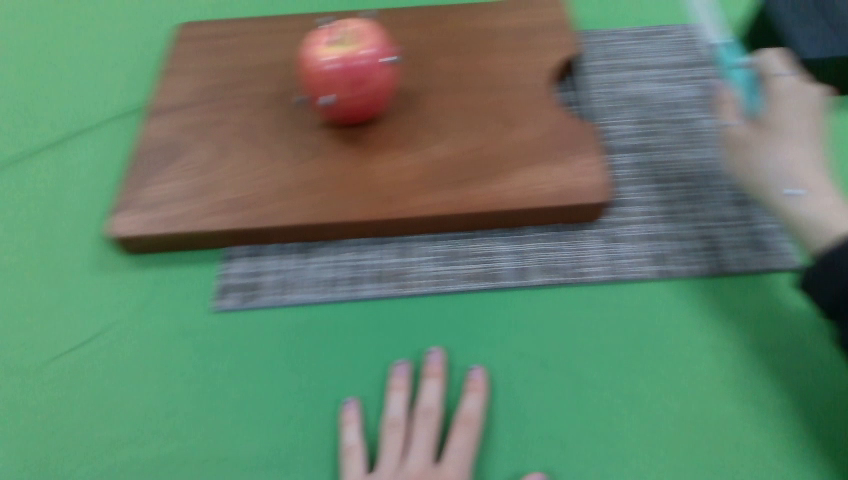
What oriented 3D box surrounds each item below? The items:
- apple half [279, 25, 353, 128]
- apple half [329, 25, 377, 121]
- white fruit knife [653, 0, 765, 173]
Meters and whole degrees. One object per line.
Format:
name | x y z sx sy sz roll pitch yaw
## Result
apple half | -0.093 -0.134 0.512 0.053 0.075 0.080 -15 60 -2
apple half | -0.056 -0.143 0.516 0.033 0.082 0.080 -16 56 -3
white fruit knife | 0.213 -0.148 0.479 0.016 0.027 0.206 -25 82 -7
